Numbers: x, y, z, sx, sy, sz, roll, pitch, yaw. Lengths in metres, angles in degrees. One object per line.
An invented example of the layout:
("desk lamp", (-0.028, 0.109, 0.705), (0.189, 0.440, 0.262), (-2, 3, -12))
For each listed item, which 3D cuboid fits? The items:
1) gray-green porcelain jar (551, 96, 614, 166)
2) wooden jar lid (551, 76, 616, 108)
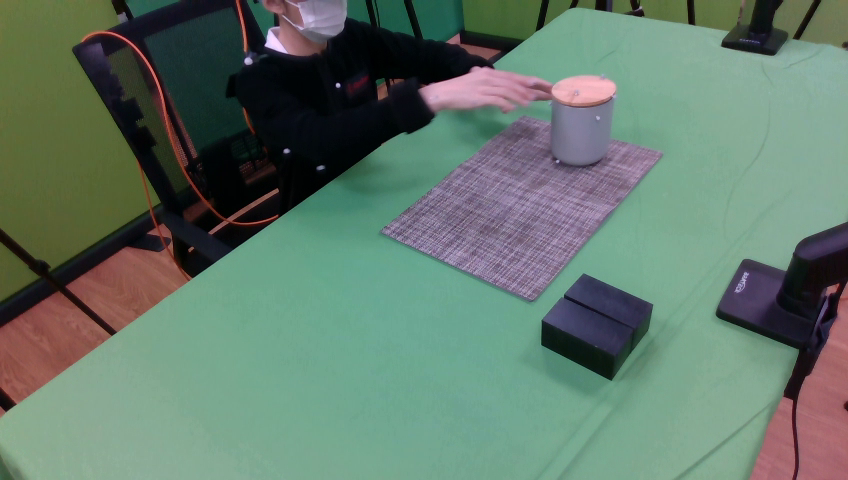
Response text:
("gray-green porcelain jar", (0.282, -0.206, 1.087), (0.106, 0.127, 0.105), (-4, 40, 4))
("wooden jar lid", (0.275, -0.253, 1.047), (0.108, 0.021, 0.108), (-5, 38, 4))
